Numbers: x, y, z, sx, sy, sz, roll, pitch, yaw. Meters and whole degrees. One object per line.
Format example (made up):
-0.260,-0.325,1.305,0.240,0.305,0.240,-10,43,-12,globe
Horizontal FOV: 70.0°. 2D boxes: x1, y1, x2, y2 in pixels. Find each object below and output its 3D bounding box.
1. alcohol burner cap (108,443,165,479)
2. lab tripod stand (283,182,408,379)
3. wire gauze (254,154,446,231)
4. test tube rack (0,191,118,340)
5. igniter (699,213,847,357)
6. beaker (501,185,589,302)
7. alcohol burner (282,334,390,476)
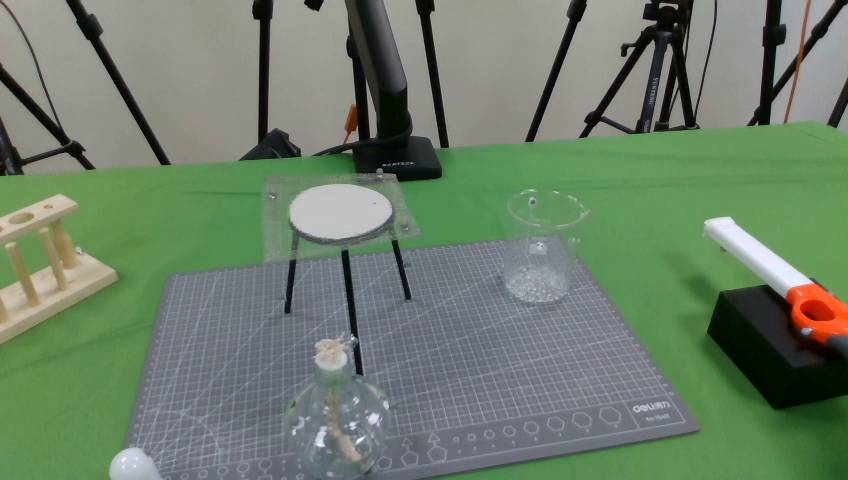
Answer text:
-0.203,0.162,0.423,0.034,0.048,0.033,2,34,-1,alcohol burner cap
-0.069,0.028,0.543,0.148,0.132,0.147,2,35,-1,lab tripod stand
-0.063,-0.040,0.494,0.125,0.011,0.120,-12,32,-31,wire gauze
-0.421,0.048,0.554,0.066,0.086,0.242,22,39,28,test tube rack
0.336,0.049,0.534,0.057,0.025,0.273,-9,33,-9,igniter
0.118,0.005,0.610,0.084,0.101,0.073,-2,35,-3,beaker
-0.063,0.113,0.435,0.078,0.120,0.077,2,33,-1,alcohol burner
